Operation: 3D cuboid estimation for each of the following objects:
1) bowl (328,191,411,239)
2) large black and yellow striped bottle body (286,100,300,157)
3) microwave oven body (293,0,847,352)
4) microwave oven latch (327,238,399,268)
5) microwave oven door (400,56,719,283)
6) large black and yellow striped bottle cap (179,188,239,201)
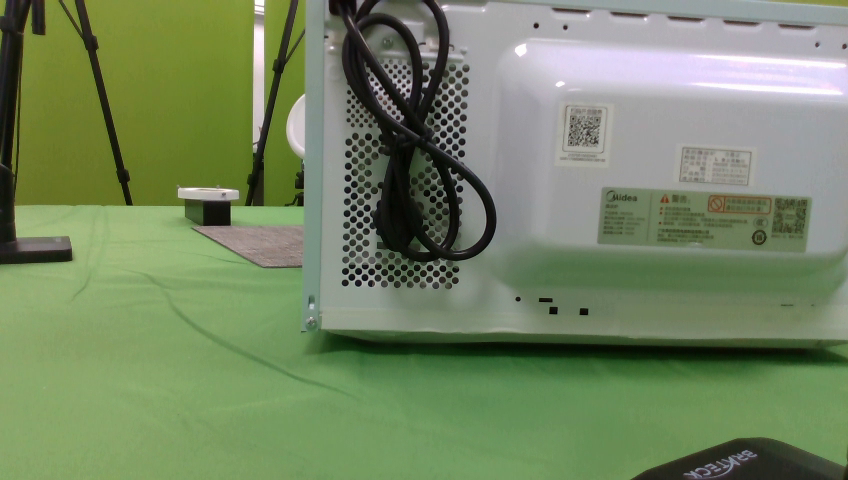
[{"bbox_3d":[-0.100,-0.046,1.104,0.151,0.077,0.151,3,8,0],"label":"bowl"},{"bbox_3d":[-0.130,-0.161,1.016,0.130,0.130,0.185,6,-11,22],"label":"large black and yellow striped bottle body"},{"bbox_3d":[0.122,-0.055,0.551,0.442,0.260,0.325,3,7,-5],"label":"microwave oven body"},{"bbox_3d":[-0.069,0.015,0.694,0.079,0.029,0.030,3,7,-3],"label":"microwave oven latch"},{"bbox_3d":[0.155,-0.077,0.698,0.356,0.243,0.039,2,8,-5],"label":"microwave oven door"},{"bbox_3d":[-0.434,-0.093,1.226,0.115,0.019,0.115,3,9,0],"label":"large black and yellow striped bottle cap"}]
